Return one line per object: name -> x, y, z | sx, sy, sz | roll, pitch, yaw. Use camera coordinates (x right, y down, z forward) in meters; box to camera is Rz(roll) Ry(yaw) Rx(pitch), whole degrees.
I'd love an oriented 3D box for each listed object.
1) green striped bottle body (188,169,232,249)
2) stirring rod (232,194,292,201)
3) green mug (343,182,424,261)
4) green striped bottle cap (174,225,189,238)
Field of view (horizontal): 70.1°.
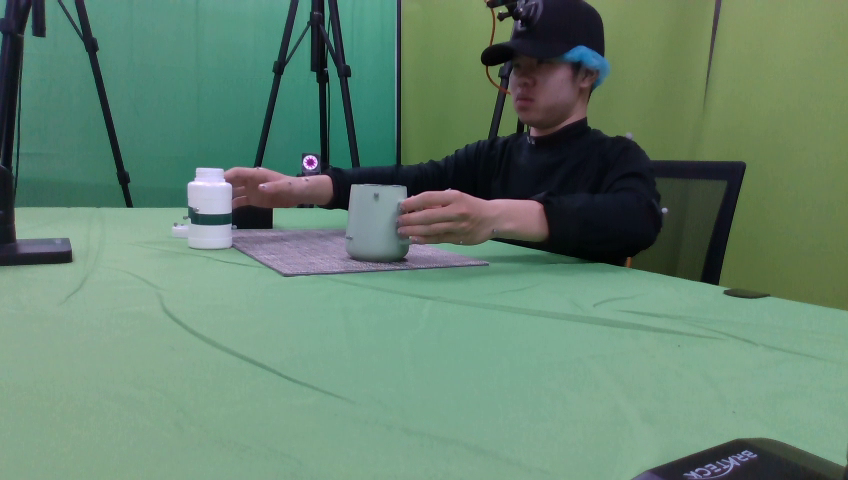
green striped bottle body -> -0.324, -0.049, 0.919 | 0.063, 0.119, 0.063 | 2, 7, 0
stirring rod -> -0.353, -0.086, 1.216 | 0.177, 0.014, 0.006 | -1, 12, -27
green mug -> -0.053, -0.026, 0.849 | 0.125, 0.105, 0.093 | 7, 9, 33
green striped bottle cap -> -0.404, -0.015, 1.035 | 0.044, 0.020, 0.044 | -2, 8, 1
